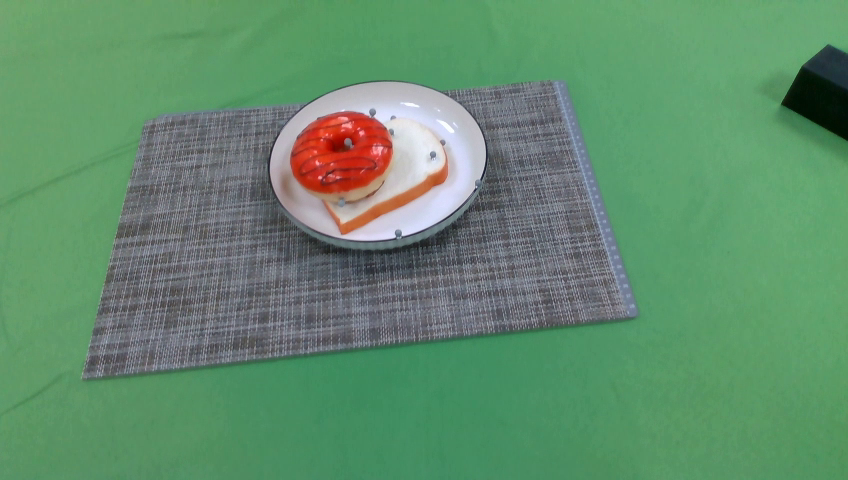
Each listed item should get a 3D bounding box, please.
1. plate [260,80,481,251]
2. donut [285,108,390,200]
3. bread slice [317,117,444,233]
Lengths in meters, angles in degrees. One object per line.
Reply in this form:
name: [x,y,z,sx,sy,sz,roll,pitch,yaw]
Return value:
plate: [-0.050,-0.071,0.584,0.207,0.039,0.205,-1,55,2]
donut: [-0.079,-0.080,0.557,0.099,0.049,0.098,-3,56,4]
bread slice: [-0.049,-0.073,0.588,0.131,0.019,0.104,-28,59,-15]
